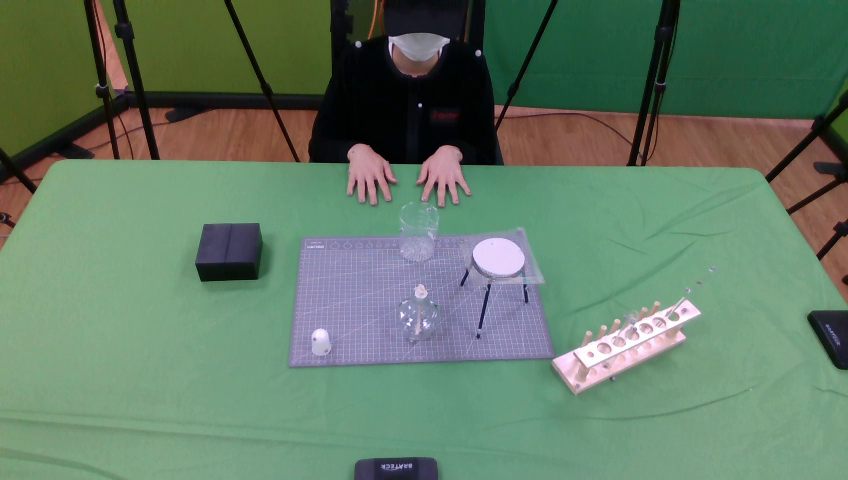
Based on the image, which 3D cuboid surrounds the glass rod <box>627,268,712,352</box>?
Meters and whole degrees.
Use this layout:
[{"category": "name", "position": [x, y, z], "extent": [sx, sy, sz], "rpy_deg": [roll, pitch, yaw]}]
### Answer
[{"category": "glass rod", "position": [0.399, 0.117, 0.995], "extent": [0.008, 0.200, 0.008], "rpy_deg": [26, 29, -15]}]

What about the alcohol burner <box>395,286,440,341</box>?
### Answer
[{"category": "alcohol burner", "position": [-0.010, 0.116, 1.018], "extent": [0.078, 0.119, 0.077], "rpy_deg": [3, 47, -3]}]

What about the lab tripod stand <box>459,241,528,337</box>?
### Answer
[{"category": "lab tripod stand", "position": [0.122, 0.075, 1.054], "extent": [0.148, 0.132, 0.147], "rpy_deg": [3, 44, -3]}]

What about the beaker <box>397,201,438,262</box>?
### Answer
[{"category": "beaker", "position": [-0.012, -0.011, 1.152], "extent": [0.083, 0.101, 0.074], "rpy_deg": [35, 53, 25]}]

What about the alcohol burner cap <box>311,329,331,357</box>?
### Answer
[{"category": "alcohol burner cap", "position": [-0.173, 0.168, 1.005], "extent": [0.034, 0.048, 0.033], "rpy_deg": [2, 46, -2]}]

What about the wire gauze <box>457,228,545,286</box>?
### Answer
[{"category": "wire gauze", "position": [0.126, 0.028, 1.006], "extent": [0.125, 0.011, 0.120], "rpy_deg": [-4, 46, -9]}]

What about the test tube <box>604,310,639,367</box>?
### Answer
[{"category": "test tube", "position": [0.310, 0.158, 0.957], "extent": [0.017, 0.151, 0.017], "rpy_deg": [1, 49, -1]}]

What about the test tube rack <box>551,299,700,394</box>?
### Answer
[{"category": "test tube rack", "position": [0.339, 0.166, 1.021], "extent": [0.242, 0.085, 0.066], "rpy_deg": [-19, 50, -21]}]
